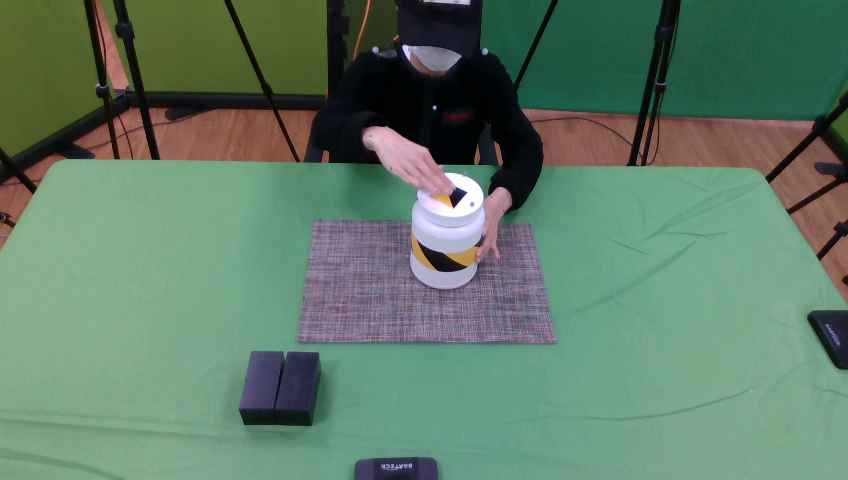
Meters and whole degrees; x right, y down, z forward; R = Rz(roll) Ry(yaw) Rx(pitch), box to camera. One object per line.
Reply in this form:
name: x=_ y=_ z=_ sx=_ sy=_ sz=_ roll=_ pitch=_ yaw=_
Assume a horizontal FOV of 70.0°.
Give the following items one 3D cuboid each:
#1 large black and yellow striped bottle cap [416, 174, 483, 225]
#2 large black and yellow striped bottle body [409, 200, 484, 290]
large black and yellow striped bottle cap: x=0.044 y=-0.072 z=1.037 sx=0.115 sy=0.019 sz=0.114 roll=1 pitch=45 yaw=-1
large black and yellow striped bottle body: x=0.040 y=-0.013 z=1.097 sx=0.131 sy=0.185 sz=0.130 roll=2 pitch=46 yaw=-2
